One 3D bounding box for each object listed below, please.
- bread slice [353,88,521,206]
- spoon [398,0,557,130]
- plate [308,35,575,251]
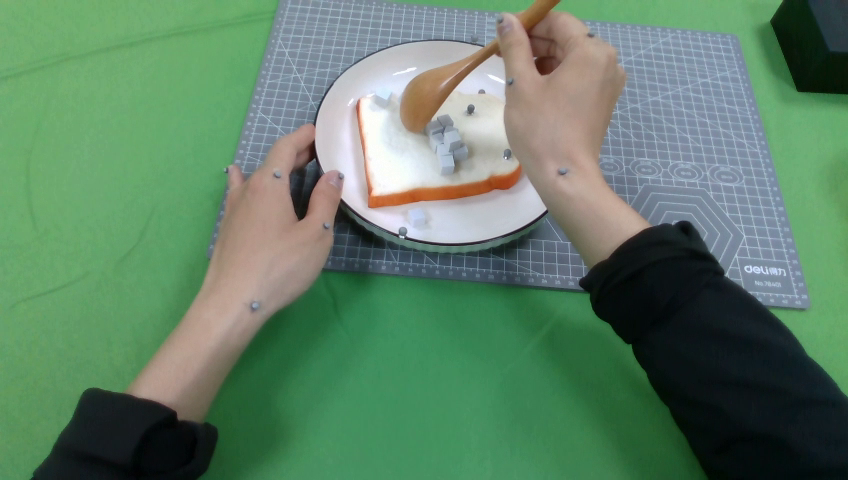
[{"bbox_3d":[0.011,-0.082,0.489,0.132,0.019,0.104,-8,61,-8],"label":"bread slice"},{"bbox_3d":[0.046,-0.140,0.425,0.022,0.193,0.041,12,54,-50],"label":"spoon"},{"bbox_3d":[0.013,-0.078,0.484,0.209,0.038,0.207,2,60,-3],"label":"plate"}]
